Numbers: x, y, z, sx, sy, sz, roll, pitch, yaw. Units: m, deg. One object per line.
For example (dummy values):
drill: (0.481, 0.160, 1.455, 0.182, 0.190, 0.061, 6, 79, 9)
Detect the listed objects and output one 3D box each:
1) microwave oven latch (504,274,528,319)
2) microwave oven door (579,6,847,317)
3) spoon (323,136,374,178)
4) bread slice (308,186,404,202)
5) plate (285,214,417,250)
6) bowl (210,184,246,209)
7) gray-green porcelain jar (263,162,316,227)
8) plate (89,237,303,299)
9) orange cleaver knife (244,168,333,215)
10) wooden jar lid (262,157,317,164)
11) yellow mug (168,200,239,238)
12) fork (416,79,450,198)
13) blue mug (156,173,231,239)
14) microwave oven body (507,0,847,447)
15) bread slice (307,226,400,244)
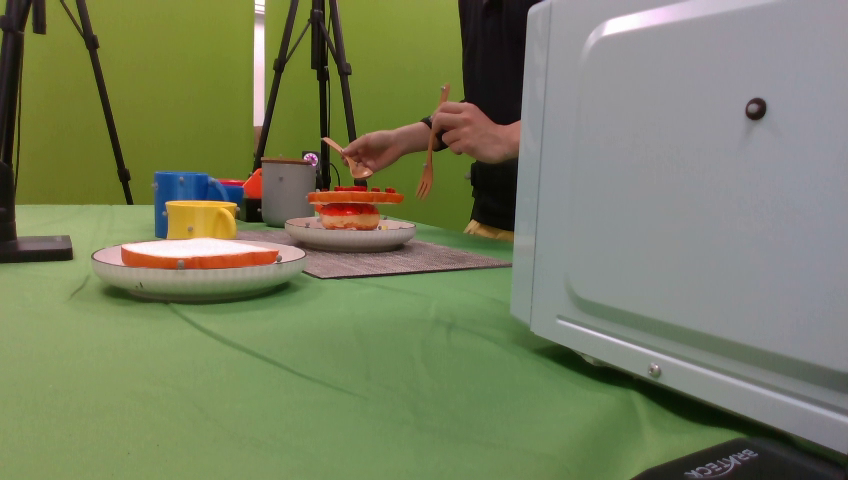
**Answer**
microwave oven latch: (0.100, 0.041, 0.470, 0.079, 0.029, 0.030, -1, 7, -27)
microwave oven door: (0.294, -0.067, 0.570, 0.358, 0.243, 0.039, -3, 9, -31)
spoon: (-0.163, -0.178, 1.266, 0.042, 0.021, 0.193, -25, 48, -23)
bread slice: (-0.114, -0.071, 0.952, 0.134, 0.018, 0.107, -1, 1, 21)
plate: (-0.116, -0.014, 0.964, 0.209, 0.038, 0.209, 2, 8, 0)
bowl: (-0.422, -0.067, 1.166, 0.151, 0.077, 0.151, 2, 7, 0)
gray-green porcelain jar: (-0.271, -0.092, 1.217, 0.106, 0.126, 0.106, 2, 7, 0)
plate: (-0.233, 0.029, 0.637, 0.208, 0.039, 0.207, 2, 7, 0)
orange cleaver knife: (-0.300, -0.089, 1.351, 0.212, 0.077, 0.012, 28, -9, -34)
wooden jar lid: (-0.269, -0.154, 1.208, 0.108, 0.020, 0.108, 3, 4, 0)
yellow mug: (-0.320, -0.023, 0.904, 0.130, 0.064, 0.100, 9, 11, 36)
fork: (0.017, -0.170, 1.030, 0.019, 0.207, 0.028, -9, 31, -41)
blue mug: (-0.381, -0.057, 1.004, 0.117, 0.106, 0.082, 0, 8, -12)
microwave oven body: (0.331, -0.042, 0.425, 0.444, 0.260, 0.324, -2, 8, -31)
bread slice: (-0.103, -0.009, 0.962, 0.131, 0.019, 0.105, 1, 8, 25)
